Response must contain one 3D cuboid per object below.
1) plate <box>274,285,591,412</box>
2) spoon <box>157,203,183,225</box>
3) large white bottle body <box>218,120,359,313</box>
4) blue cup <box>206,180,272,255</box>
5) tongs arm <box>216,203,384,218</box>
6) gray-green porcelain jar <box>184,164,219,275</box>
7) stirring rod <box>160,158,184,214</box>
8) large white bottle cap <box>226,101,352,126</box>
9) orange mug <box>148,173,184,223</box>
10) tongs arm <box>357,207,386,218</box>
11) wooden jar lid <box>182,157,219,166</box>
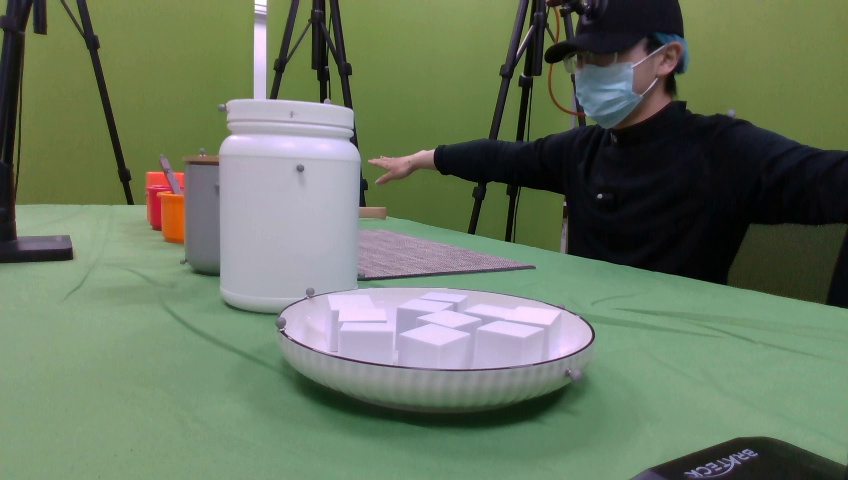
[{"bbox_3d":[0.005,0.069,0.408,0.208,0.039,0.207,2,7,0],"label":"plate"},{"bbox_3d":[-0.425,-0.094,1.117,0.041,0.022,0.194,5,51,28],"label":"spoon"},{"bbox_3d":[-0.128,-0.033,0.578,0.131,0.184,0.130,2,7,0],"label":"large white bottle body"},{"bbox_3d":[-0.261,-0.033,0.865,0.093,0.100,0.092,3,9,0],"label":"blue cup"},{"bbox_3d":[-0.288,-0.070,1.435,0.389,0.027,0.028,0,-1,-17],"label":"tongs arm"},{"bbox_3d":[-0.230,-0.025,0.722,0.106,0.126,0.106,3,7,0],"label":"gray-green porcelain jar"},{"bbox_3d":[-0.391,-0.069,0.973,0.014,0.006,0.175,-6,54,-45],"label":"stirring rod"},{"bbox_3d":[-0.125,-0.116,0.566,0.115,0.018,0.115,2,8,0],"label":"large white bottle cap"},{"bbox_3d":[-0.490,-0.087,1.222,0.127,0.101,0.083,-9,13,-38],"label":"orange mug"},{"bbox_3d":[-0.251,-0.063,1.360,0.387,0.026,0.050,-1,3,-31],"label":"tongs arm"},{"bbox_3d":[-0.227,-0.086,0.714,0.108,0.020,0.108,1,6,0],"label":"wooden jar lid"}]
